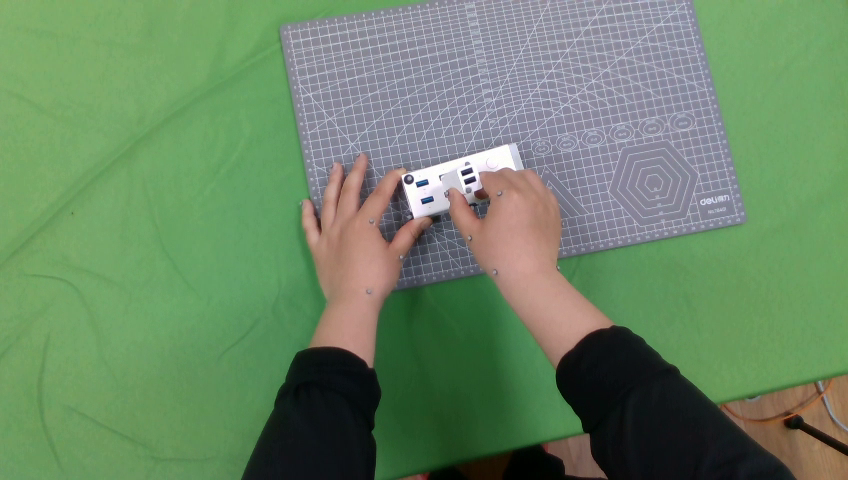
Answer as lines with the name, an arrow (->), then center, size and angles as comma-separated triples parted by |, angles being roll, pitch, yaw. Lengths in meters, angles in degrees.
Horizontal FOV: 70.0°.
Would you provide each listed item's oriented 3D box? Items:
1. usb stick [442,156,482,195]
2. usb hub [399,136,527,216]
usb stick -> 0.034, -0.060, 0.585 | 0.021, 0.059, 0.027 | -25, 87, -14
usb hub -> 0.039, -0.067, 0.625 | 0.125, 0.025, 0.049 | -17, 85, -4
